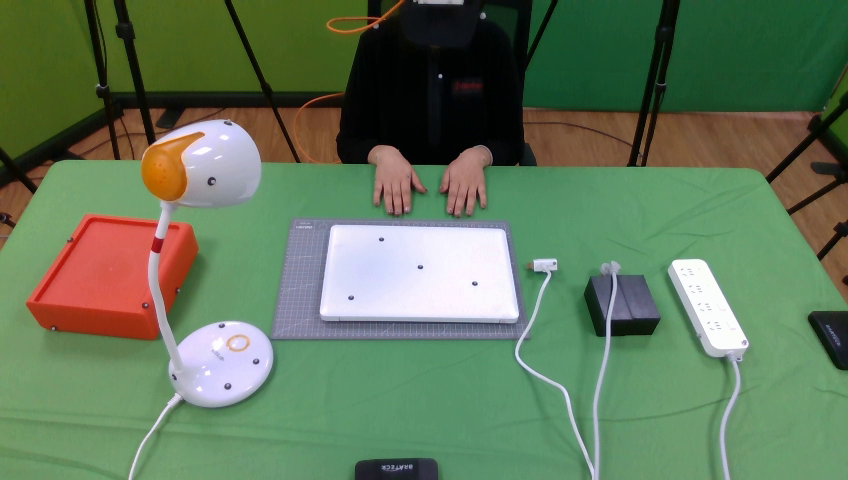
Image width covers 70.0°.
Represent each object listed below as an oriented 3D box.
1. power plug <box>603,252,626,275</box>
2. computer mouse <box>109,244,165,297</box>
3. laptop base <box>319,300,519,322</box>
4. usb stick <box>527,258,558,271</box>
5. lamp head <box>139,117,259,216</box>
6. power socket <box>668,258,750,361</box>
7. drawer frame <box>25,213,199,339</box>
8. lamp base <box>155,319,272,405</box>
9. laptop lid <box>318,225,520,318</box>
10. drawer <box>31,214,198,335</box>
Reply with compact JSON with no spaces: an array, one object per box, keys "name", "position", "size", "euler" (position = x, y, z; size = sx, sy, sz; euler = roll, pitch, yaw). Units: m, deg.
[{"name":"power plug","position":[0.366,0.040,1.131],"size":[0.035,0.072,0.052],"euler":[40,54,-10]},{"name":"computer mouse","position":[-0.516,0.052,1.088],"size":[0.063,0.041,0.116],"euler":[4,47,3]},{"name":"laptop base","position":[-0.009,0.062,1.137],"size":[0.354,0.023,0.234],"euler":[1,42,-3]},{"name":"usb stick","position":[0.226,0.047,1.158],"size":[0.059,0.021,0.027],"euler":[-3,8,10]},{"name":"lamp head","position":[-0.281,-0.086,0.734],"size":[0.112,0.113,0.123],"euler":[21,25,16]},{"name":"power socket","position":[0.517,0.118,1.109],"size":[0.072,0.033,0.225],"euler":[-2,46,-4]},{"name":"drawer frame","position":[-0.532,0.058,1.061],"size":[0.202,0.083,0.212],"euler":[5,46,0]},{"name":"lamp base","position":[-0.330,0.149,0.918],"size":[0.160,0.181,0.179],"euler":[26,52,20]},{"name":"laptop lid","position":[-0.009,0.052,1.131],"size":[0.357,0.013,0.240],"euler":[2,43,-2]},{"name":"drawer","position":[-0.532,0.056,1.064],"size":[0.194,0.073,0.210],"euler":[6,46,1]}]
